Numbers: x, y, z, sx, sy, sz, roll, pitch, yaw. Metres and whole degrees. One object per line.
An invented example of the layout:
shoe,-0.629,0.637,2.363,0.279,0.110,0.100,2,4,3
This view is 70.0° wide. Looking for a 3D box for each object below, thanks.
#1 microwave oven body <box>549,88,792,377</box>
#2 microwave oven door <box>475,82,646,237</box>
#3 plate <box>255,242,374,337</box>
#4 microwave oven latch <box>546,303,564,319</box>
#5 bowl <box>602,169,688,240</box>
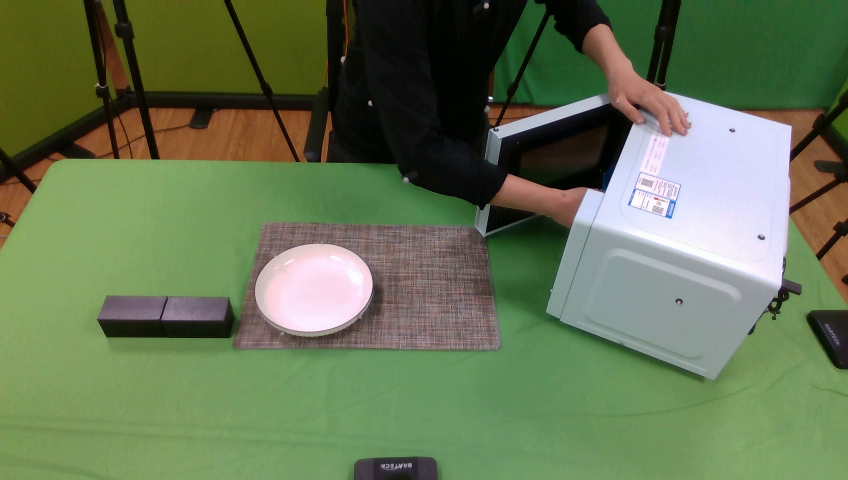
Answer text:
microwave oven body,0.456,-0.028,1.088,0.325,0.261,0.440,20,47,16
microwave oven door,0.269,-0.159,1.193,0.356,0.245,0.039,-21,50,-22
plate,-0.192,0.090,1.079,0.208,0.039,0.206,2,46,-2
microwave oven latch,0.242,0.102,1.081,0.030,0.029,0.079,21,48,17
bowl,0.402,-0.052,1.127,0.151,0.077,0.150,-2,53,3
